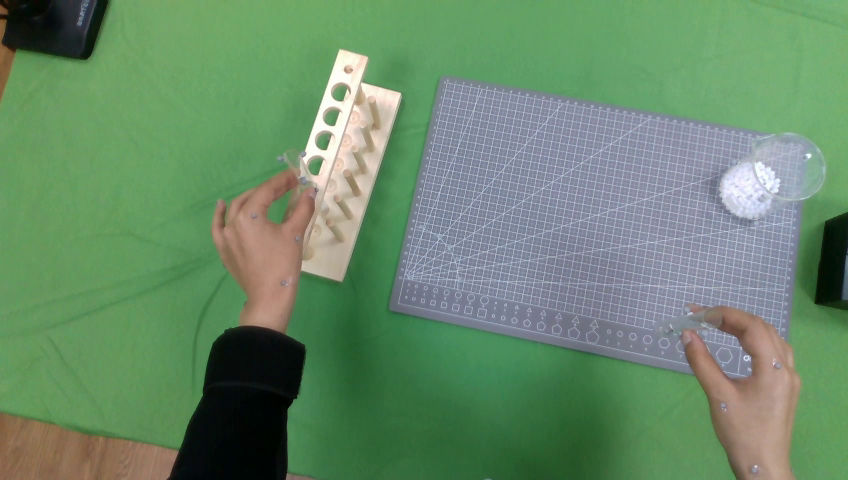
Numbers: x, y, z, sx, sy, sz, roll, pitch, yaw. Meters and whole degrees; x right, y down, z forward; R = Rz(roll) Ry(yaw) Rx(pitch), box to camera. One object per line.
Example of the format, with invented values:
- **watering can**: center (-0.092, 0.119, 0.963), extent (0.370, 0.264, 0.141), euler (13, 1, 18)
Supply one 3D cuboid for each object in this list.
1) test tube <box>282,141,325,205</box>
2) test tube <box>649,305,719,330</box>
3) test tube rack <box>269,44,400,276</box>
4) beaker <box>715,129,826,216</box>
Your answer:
- **test tube**: center (-0.125, -0.067, 0.641), extent (0.017, 0.151, 0.017), euler (0, 74, 1)
- **test tube**: center (0.230, 0.071, 0.547), extent (0.017, 0.151, 0.017), euler (-1, 80, 5)
- **test tube rack**: center (-0.097, -0.088, 0.694), extent (0.066, 0.085, 0.241), euler (16, 81, 5)
- **beaker**: center (0.372, -0.072, 0.668), extent (0.083, 0.100, 0.074), euler (43, 84, 10)
